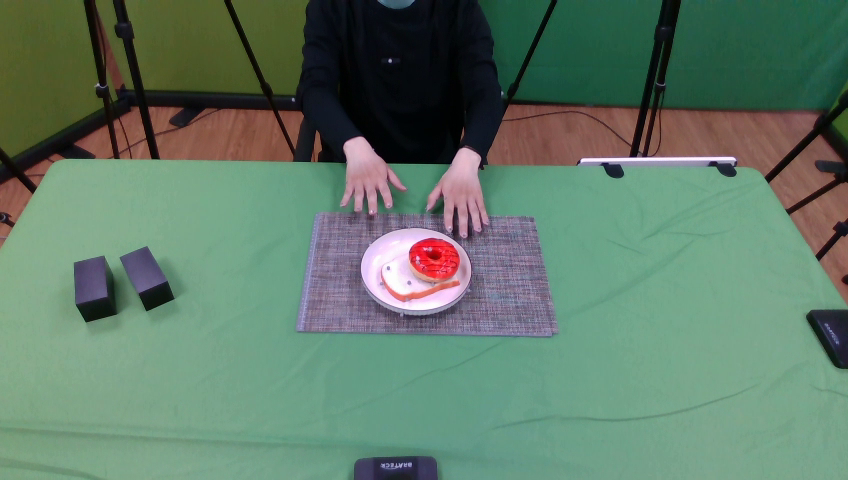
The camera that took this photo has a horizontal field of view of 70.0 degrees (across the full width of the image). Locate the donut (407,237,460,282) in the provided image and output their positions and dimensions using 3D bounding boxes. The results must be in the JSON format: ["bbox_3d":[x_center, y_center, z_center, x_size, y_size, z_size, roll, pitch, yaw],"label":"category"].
[{"bbox_3d":[0.017,0.037,1.109,0.099,0.048,0.098,5,44,-4],"label":"donut"}]

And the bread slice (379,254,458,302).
[{"bbox_3d":[-0.014,0.064,1.123,0.132,0.019,0.104,-17,50,-22],"label":"bread slice"}]

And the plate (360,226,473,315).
[{"bbox_3d":[-0.013,0.059,1.124,0.208,0.039,0.206,2,46,-2],"label":"plate"}]
